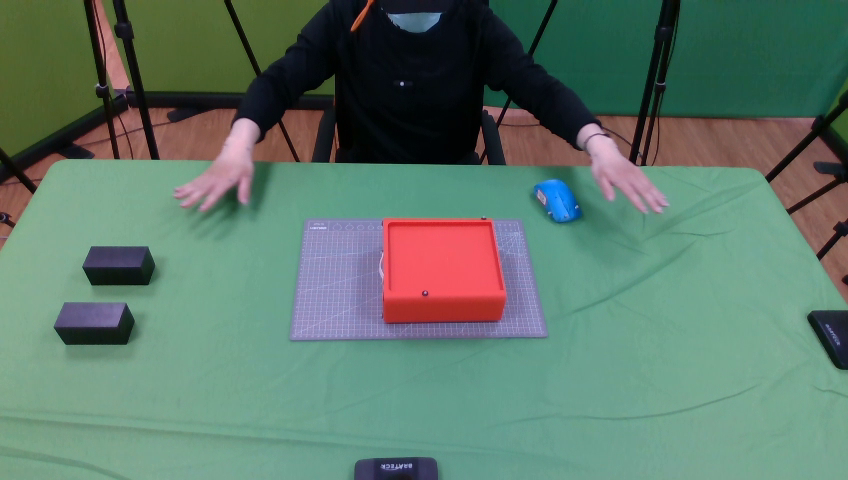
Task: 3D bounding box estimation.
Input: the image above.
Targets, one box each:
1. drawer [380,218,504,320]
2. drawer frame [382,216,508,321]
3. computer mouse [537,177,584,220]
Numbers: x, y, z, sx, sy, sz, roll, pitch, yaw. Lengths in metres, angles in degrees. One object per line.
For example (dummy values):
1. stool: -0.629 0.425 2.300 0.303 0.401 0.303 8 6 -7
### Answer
1. drawer: 0.026 0.049 1.103 0.212 0.073 0.193 0 46 -4
2. drawer frame: 0.029 0.049 1.102 0.214 0.083 0.200 0 46 -5
3. computer mouse: 0.291 -0.092 1.288 0.063 0.041 0.116 -13 52 -18
